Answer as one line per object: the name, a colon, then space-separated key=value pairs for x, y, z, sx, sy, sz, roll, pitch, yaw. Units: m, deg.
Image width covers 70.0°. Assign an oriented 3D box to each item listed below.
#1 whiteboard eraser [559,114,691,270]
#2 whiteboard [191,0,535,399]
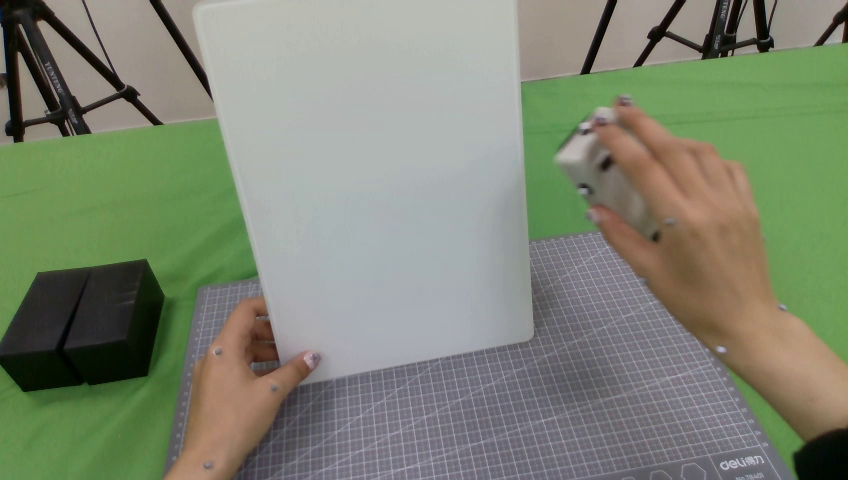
whiteboard eraser: x=0.146 y=-0.034 z=0.442 sx=0.055 sy=0.113 sz=0.041 roll=-49 pitch=24 yaw=-14
whiteboard: x=-0.036 y=-0.050 z=0.520 sx=0.217 sy=0.307 sz=0.142 roll=-9 pitch=22 yaw=-5
